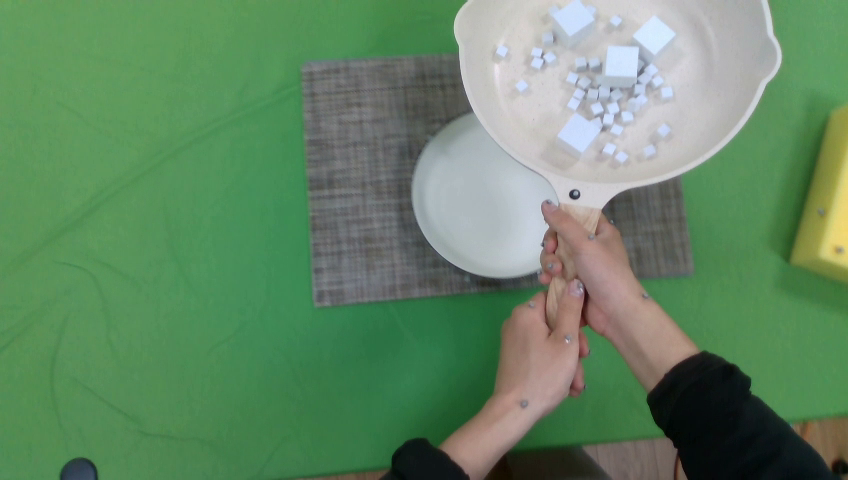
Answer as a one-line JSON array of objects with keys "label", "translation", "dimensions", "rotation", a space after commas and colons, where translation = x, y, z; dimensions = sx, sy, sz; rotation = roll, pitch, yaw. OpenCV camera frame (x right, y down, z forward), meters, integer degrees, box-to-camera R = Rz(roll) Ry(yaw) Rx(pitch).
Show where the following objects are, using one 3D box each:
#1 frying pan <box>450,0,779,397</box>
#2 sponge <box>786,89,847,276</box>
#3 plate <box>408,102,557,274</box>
[{"label": "frying pan", "translation": [0.157, -0.095, 0.583], "dimensions": [0.306, 0.103, 0.485], "rotation": [11, 76, 11]}, {"label": "sponge", "translation": [0.521, -0.063, 0.710], "dimensions": [0.118, 0.061, 0.206], "rotation": [18, 83, 2]}, {"label": "plate", "translation": [0.086, -0.062, 0.709], "dimensions": [0.208, 0.039, 0.207], "rotation": [0, 83, -1]}]
